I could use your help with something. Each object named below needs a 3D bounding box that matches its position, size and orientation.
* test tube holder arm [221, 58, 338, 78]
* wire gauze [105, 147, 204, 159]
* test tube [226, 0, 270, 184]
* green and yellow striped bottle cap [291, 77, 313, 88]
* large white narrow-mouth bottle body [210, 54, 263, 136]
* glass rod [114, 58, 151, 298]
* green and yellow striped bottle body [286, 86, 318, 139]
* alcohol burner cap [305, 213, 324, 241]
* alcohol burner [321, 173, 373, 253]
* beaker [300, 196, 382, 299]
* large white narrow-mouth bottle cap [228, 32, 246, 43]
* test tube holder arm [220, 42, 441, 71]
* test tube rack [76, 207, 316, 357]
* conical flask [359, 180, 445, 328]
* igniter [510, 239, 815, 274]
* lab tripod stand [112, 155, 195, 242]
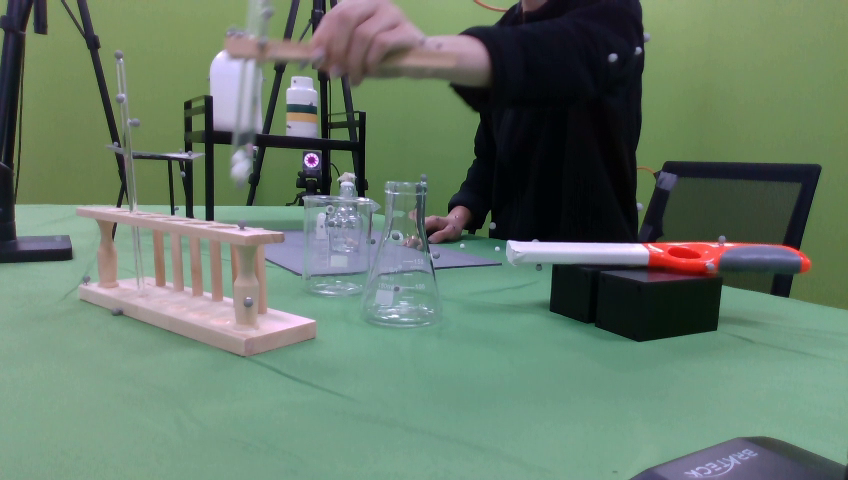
[{"bbox_3d":[-0.111,-0.136,0.468,0.088,0.015,0.010,-9,-19,-15],"label":"test tube holder arm"},{"bbox_3d":[-0.408,-0.131,0.929,0.125,0.011,0.121,2,6,-11],"label":"wire gauze"},{"bbox_3d":[-0.134,-0.117,0.459,0.017,0.150,0.017,8,3,0],"label":"test tube"},{"bbox_3d":[-0.250,-0.321,1.237,0.045,0.020,0.045,3,5,0],"label":"green and yellow striped bottle cap"},{"bbox_3d":[-0.369,-0.305,1.194,0.102,0.194,0.102,3,8,0],"label":"large white narrow-mouth bottle body"},{"bbox_3d":[-0.236,-0.044,0.493,0.008,0.199,0.008,1,16,0],"label":"glass rod"},{"bbox_3d":[-0.251,-0.270,1.245,0.063,0.119,0.063,2,7,0],"label":"green and yellow striped bottle body"},{"bbox_3d":[-0.185,-0.023,1.027,0.034,0.048,0.034,2,6,0],"label":"alcohol burner cap"},{"bbox_3d":[-0.115,-0.041,0.905,0.078,0.119,0.078,1,6,0],"label":"alcohol burner"},{"bbox_3d":[-0.087,0.006,0.626,0.084,0.100,0.074,1,8,-16],"label":"beaker"},{"bbox_3d":[-0.364,-0.390,1.180,0.038,0.024,0.037,3,8,0],"label":"large white narrow-mouth bottle cap"},{"bbox_3d":[-0.067,-0.144,0.479,0.179,0.015,0.013,-6,-20,-24],"label":"test tube holder arm"},{"bbox_3d":[-0.196,0.023,0.499,0.241,0.085,0.067,8,9,36],"label":"test tube rack"},{"bbox_3d":[-0.017,0.010,0.522,0.075,0.122,0.075,2,7,0],"label":"conical flask"},{"bbox_3d":[0.220,0.015,0.565,0.277,0.025,0.057,2,17,-1],"label":"igniter"},{"bbox_3d":[-0.405,-0.064,0.931,0.148,0.131,0.148,1,6,0],"label":"lab tripod stand"}]
